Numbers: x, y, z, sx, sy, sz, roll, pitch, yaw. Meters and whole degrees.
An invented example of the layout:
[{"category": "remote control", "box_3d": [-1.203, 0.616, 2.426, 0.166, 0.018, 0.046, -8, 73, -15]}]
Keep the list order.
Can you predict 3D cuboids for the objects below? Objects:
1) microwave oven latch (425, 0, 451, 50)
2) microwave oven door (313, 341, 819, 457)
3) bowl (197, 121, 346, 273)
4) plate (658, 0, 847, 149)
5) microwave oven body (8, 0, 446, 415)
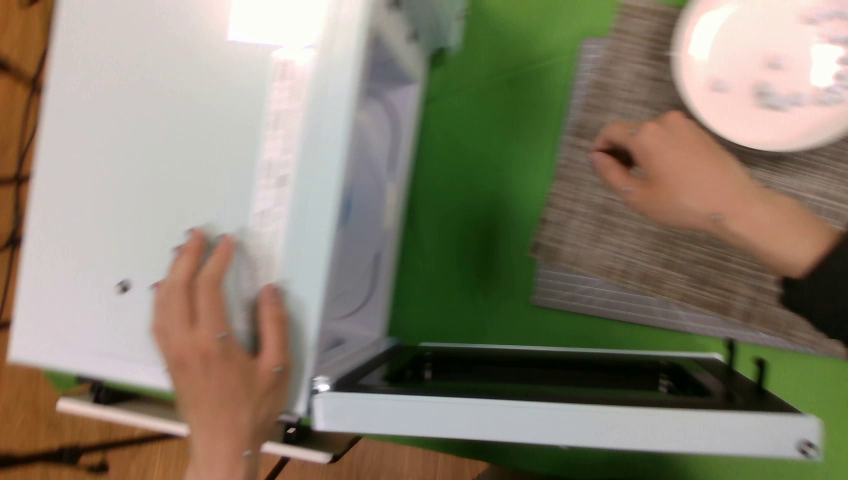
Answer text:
[{"category": "microwave oven latch", "box_3d": [0.014, -0.252, 0.664, 0.030, 0.029, 0.079, 8, 92, 10]}, {"category": "microwave oven door", "box_3d": [0.111, 0.131, 0.544, 0.355, 0.244, 0.039, -1, 89, 11]}, {"category": "bowl", "box_3d": [-0.146, -0.041, 0.627, 0.151, 0.077, 0.151, 0, 90, 9]}, {"category": "plate", "box_3d": [0.346, -0.193, 0.616, 0.209, 0.038, 0.209, 0, 89, 11]}, {"category": "microwave oven body", "box_3d": [-0.171, -0.096, 0.601, 0.325, 0.261, 0.441, 7, 92, 10]}]
